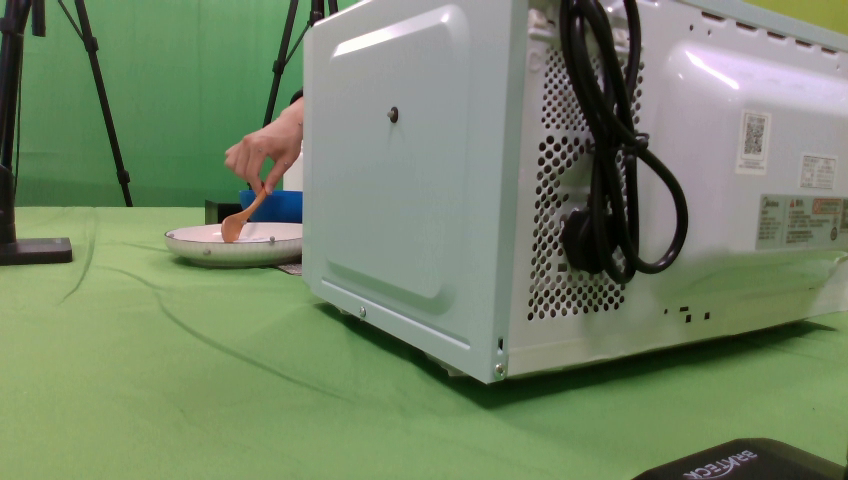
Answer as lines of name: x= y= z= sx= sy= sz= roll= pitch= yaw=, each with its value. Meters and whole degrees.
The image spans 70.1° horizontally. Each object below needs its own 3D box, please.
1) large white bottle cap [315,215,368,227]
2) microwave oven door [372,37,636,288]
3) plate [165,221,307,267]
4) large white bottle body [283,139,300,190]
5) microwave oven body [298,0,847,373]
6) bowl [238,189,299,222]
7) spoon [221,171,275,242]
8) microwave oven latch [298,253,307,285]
large white bottle cap: x=-0.178 y=-0.041 z=1.309 sx=0.115 sy=0.018 sz=0.115 roll=2 pitch=6 yaw=0
microwave oven door: x=0.109 y=-0.080 z=0.686 sx=0.358 sy=0.243 sz=0.039 roll=-2 pitch=9 yaw=-33
plate: x=-0.241 y=0.004 z=0.829 sx=0.209 sy=0.038 sz=0.209 roll=0 pitch=9 yaw=0
large white bottle body: x=-0.265 y=-0.143 z=1.424 sx=0.131 sy=0.184 sz=0.130 roll=2 pitch=7 yaw=0
microwave oven body: x=0.151 y=-0.055 z=0.542 sx=0.444 sy=0.260 sz=0.324 roll=-2 pitch=7 yaw=-33
bowl: x=-0.245 y=-0.046 z=1.053 sx=0.151 sy=0.077 sz=0.151 roll=3 pitch=7 yaw=0
spoon: x=-0.259 y=-0.052 z=0.908 sx=0.021 sy=0.042 sz=0.193 roll=-6 pitch=33 yaw=19
microwave oven latch: x=-0.081 y=0.027 z=0.582 sx=0.079 sy=0.029 sz=0.030 roll=-1 pitch=7 yaw=-32
